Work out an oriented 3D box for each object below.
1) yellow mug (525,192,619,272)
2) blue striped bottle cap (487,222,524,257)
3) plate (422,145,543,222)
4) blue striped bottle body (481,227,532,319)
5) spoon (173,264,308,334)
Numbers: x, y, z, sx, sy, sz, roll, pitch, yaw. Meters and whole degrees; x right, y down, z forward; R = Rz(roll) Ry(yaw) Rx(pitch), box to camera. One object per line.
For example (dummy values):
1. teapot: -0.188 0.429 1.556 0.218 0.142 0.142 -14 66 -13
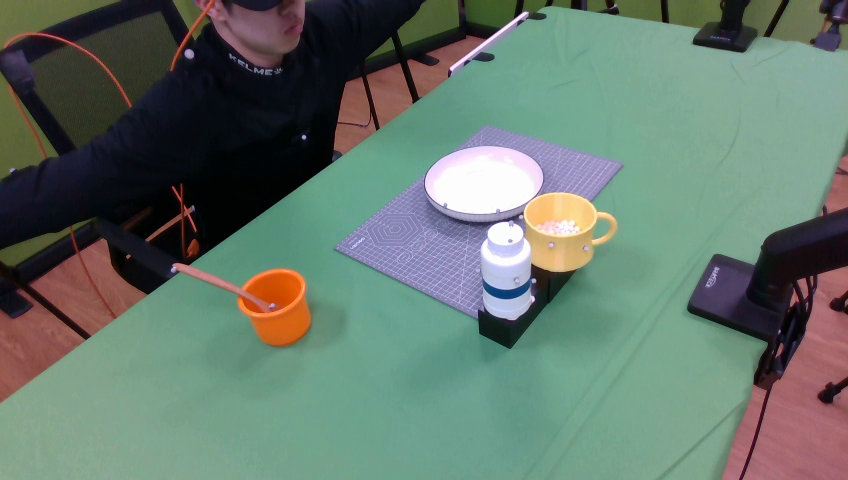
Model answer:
1. yellow mug: 0.206 -0.014 0.845 0.131 0.064 0.099 -4 41 2
2. blue striped bottle cap: 0.097 -0.001 0.722 0.044 0.021 0.044 -2 39 2
3. plate: 0.101 -0.094 1.048 0.207 0.039 0.206 -4 41 4
4. blue striped bottle body: 0.104 0.037 0.756 0.063 0.121 0.063 -4 40 4
5. spoon: -0.245 0.077 0.817 0.021 0.195 0.041 -39 29 34
